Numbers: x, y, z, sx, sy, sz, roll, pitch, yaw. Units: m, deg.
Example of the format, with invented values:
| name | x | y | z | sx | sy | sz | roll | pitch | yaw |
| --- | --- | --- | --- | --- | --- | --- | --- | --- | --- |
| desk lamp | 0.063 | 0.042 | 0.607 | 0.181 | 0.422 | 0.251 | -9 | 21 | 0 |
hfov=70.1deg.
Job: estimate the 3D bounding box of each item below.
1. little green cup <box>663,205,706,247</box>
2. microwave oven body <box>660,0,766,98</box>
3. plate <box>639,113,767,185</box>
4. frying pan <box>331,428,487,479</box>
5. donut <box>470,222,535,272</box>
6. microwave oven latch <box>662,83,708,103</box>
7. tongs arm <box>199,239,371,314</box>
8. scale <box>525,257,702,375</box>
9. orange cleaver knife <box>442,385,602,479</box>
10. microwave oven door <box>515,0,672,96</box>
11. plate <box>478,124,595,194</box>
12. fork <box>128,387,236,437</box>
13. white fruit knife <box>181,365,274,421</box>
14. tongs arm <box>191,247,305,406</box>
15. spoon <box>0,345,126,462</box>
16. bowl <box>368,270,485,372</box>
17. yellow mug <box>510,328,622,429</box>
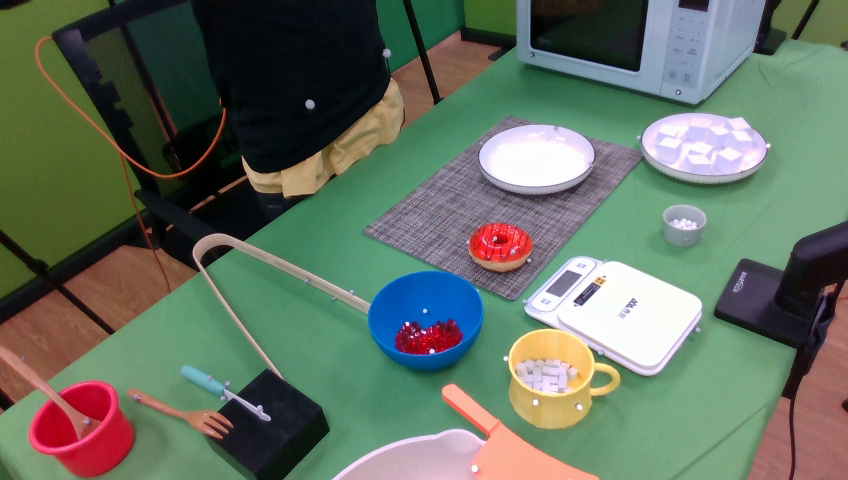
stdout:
| name | x | y | z | sx | sy | sz | roll | pitch | yaw |
| --- | --- | --- | --- | --- | --- | --- | --- | --- | --- |
| little green cup | 0.396 | -0.020 | 0.926 | 0.061 | 0.039 | 0.061 | -4 | 40 | 4 |
| microwave oven body | 0.472 | -0.513 | 1.317 | 0.438 | 0.261 | 0.327 | 26 | 51 | 34 |
| plate | 0.489 | -0.157 | 1.074 | 0.207 | 0.039 | 0.206 | -4 | 40 | 4 |
| frying pan | -0.089 | 0.306 | 0.564 | 0.487 | 0.103 | 0.306 | 9 | 41 | 7 |
| donut | 0.119 | 0.009 | 0.923 | 0.099 | 0.048 | 0.098 | -4 | 38 | 3 |
| microwave oven latch | 0.517 | -0.296 | 1.204 | 0.078 | 0.029 | 0.030 | 28 | 52 | 35 |
| tongs arm | -0.209 | 0.064 | 0.924 | 0.382 | 0.027 | 0.051 | 22 | 53 | 32 |
| scale | 0.254 | 0.091 | 0.821 | 0.199 | 0.032 | 0.149 | 28 | 51 | 35 |
| orange cleaver knife | 0.086 | 0.219 | 0.612 | 0.209 | 0.012 | 0.077 | 28 | 49 | 35 |
| microwave oven door | 0.343 | -0.454 | 1.259 | 0.353 | 0.245 | 0.039 | 26 | 51 | 33 |
| plate | 0.202 | -0.142 | 1.093 | 0.209 | 0.038 | 0.208 | -4 | 40 | 4 |
| fork | -0.305 | 0.207 | 0.744 | 0.206 | 0.019 | 0.028 | 3 | 41 | 36 |
| white fruit knife | -0.245 | 0.187 | 0.747 | 0.205 | 0.027 | 0.016 | 9 | 41 | 40 |
| tongs arm | -0.268 | 0.113 | 0.883 | 0.028 | 0.028 | 0.384 | -37 | 47 | -18 |
| spoon | -0.434 | 0.192 | 0.720 | 0.194 | 0.021 | 0.042 | 47 | 54 | -7 |
| bowl | 0.007 | 0.118 | 0.791 | 0.151 | 0.077 | 0.150 | -5 | 40 | 4 |
| yellow mug | 0.168 | 0.164 | 0.721 | 0.130 | 0.064 | 0.099 | 0 | 40 | 8 |
